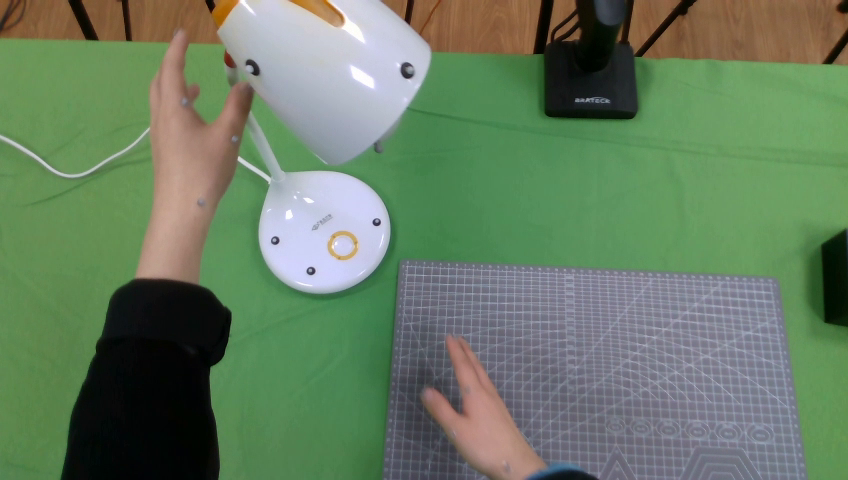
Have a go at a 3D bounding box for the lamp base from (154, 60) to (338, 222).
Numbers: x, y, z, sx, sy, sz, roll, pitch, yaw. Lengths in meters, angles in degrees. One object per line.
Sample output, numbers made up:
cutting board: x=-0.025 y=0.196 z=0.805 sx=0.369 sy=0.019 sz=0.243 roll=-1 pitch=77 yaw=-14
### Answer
lamp base: x=-0.195 y=-0.119 z=0.638 sx=0.179 sy=0.181 sz=0.160 roll=13 pitch=76 yaw=6

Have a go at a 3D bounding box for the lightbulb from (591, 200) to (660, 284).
lightbulb: x=0.218 y=0.000 z=0.674 sx=0.059 sy=0.060 sz=0.106 roll=-21 pitch=61 yaw=-5

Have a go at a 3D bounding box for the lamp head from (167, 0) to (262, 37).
lamp head: x=-0.149 y=-0.198 z=0.359 sx=0.124 sy=0.112 sz=0.112 roll=20 pitch=73 yaw=-32
